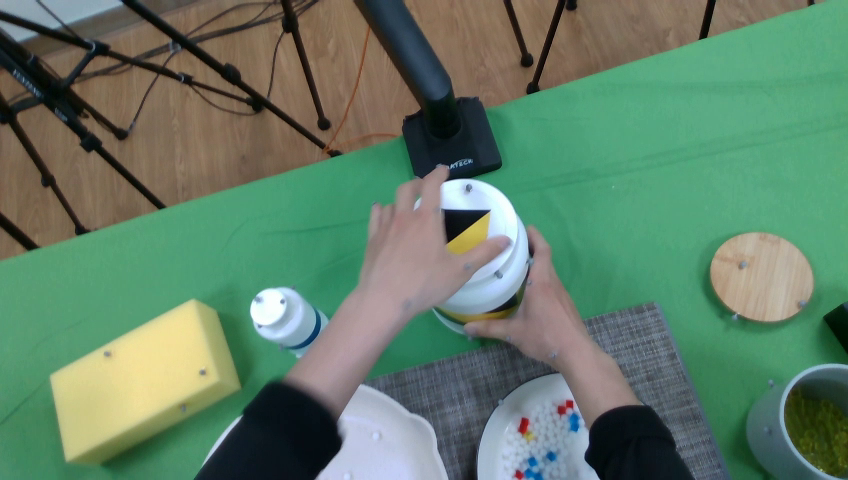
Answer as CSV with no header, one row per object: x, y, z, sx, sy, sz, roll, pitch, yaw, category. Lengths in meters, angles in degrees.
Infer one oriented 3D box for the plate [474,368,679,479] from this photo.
0.158,0.241,0.643,0.209,0.038,0.207,-4,68,10,plate

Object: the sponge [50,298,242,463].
-0.349,0.177,0.764,0.207,0.061,0.117,-29,66,-2,sponge

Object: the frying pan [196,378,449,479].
-0.050,0.366,0.600,0.307,0.104,0.482,-38,58,-4,frying pan

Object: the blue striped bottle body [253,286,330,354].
-0.161,0.094,0.726,0.063,0.122,0.062,-4,67,10,blue striped bottle body

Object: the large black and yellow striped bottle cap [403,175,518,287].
0.036,-0.010,0.602,0.115,0.019,0.114,-3,69,9,large black and yellow striped bottle cap

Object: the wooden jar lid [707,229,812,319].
0.382,0.039,0.694,0.108,0.021,0.107,-4,69,10,wooden jar lid

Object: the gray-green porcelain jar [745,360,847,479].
0.376,0.179,0.581,0.105,0.127,0.105,-4,67,10,gray-green porcelain jar

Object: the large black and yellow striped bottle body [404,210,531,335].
0.052,0.023,0.678,0.130,0.185,0.130,-4,67,10,large black and yellow striped bottle body

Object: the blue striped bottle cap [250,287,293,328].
-0.171,0.076,0.679,0.044,0.021,0.044,-5,65,12,blue striped bottle cap
